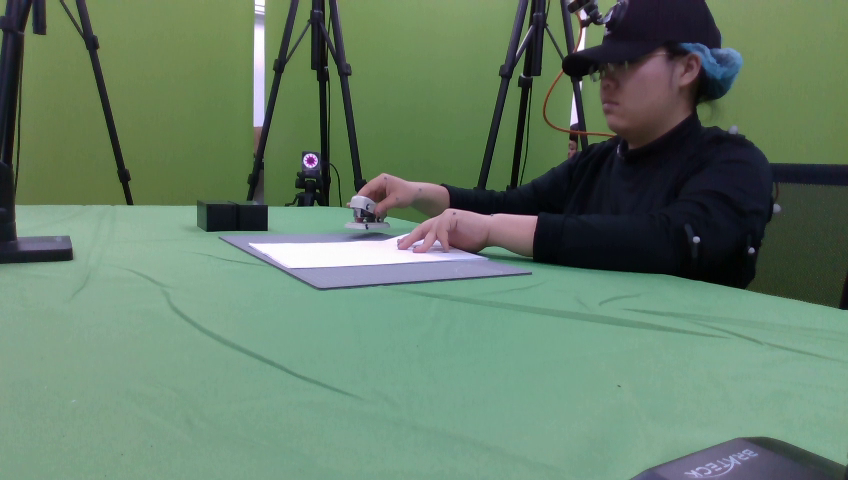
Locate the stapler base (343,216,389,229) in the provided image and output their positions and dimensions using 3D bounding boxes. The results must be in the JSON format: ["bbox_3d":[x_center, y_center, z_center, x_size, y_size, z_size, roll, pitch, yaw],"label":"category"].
[{"bbox_3d":[-0.103,-0.035,1.107,0.041,0.024,0.131,12,4,18],"label":"stapler base"}]

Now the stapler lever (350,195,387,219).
[{"bbox_3d":[-0.100,-0.059,1.107,0.027,0.040,0.118,12,5,18],"label":"stapler lever"}]
